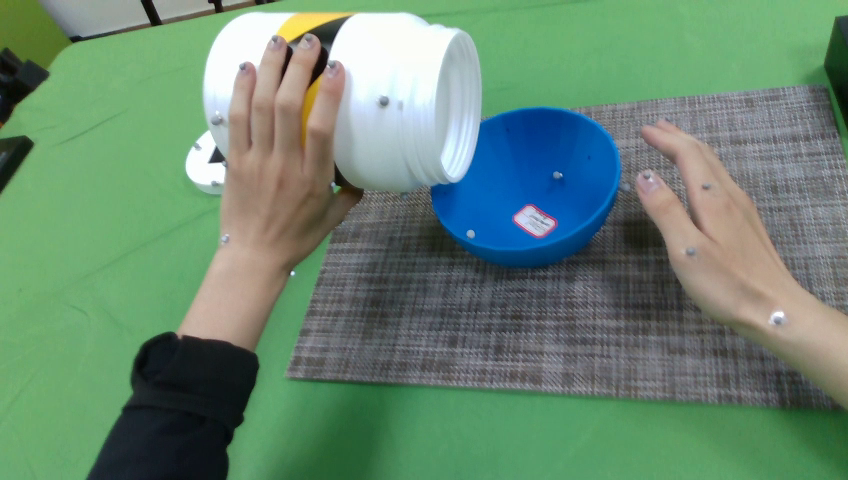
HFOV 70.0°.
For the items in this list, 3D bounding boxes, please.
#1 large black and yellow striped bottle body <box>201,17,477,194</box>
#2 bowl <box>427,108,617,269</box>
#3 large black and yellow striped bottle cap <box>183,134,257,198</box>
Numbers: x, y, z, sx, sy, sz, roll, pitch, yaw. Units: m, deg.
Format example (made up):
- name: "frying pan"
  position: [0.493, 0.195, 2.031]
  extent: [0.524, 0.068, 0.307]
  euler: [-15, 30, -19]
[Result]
- name: "large black and yellow striped bottle body"
  position: [-0.060, -0.105, 0.474]
  extent: [0.183, 0.132, 0.130]
  euler: [7, 57, 19]
- name: "bowl"
  position: [0.085, -0.029, 0.505]
  extent: [0.151, 0.077, 0.150]
  euler: [-10, 52, 13]
- name: "large black and yellow striped bottle cap"
  position: [-0.230, -0.099, 0.720]
  extent: [0.115, 0.019, 0.114]
  euler: [-9, 52, 12]
